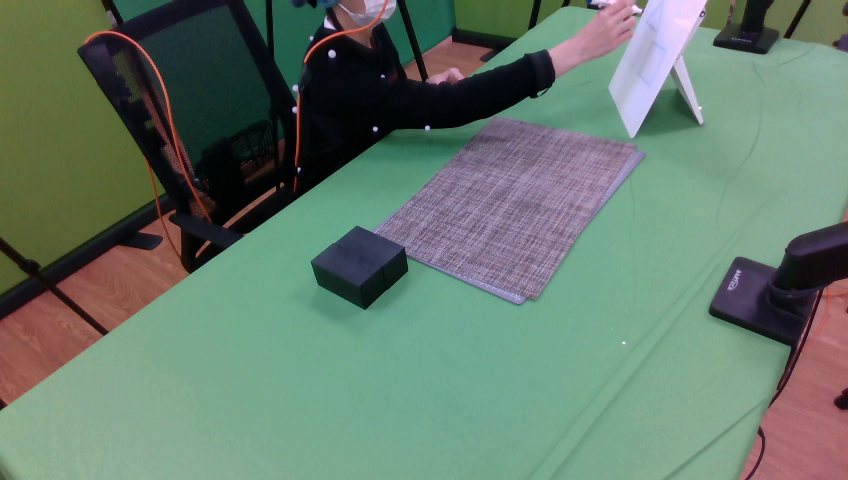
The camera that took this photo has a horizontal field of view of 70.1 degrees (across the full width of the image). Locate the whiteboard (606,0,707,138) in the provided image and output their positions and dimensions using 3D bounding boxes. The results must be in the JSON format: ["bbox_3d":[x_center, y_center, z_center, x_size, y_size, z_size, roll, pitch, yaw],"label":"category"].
[{"bbox_3d":[0.496,-0.358,1.147,0.144,0.305,0.216,11,40,-7],"label":"whiteboard"}]

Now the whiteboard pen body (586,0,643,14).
[{"bbox_3d":[0.352,-0.430,1.108,0.142,0.017,0.017,-1,35,-29],"label":"whiteboard pen body"}]

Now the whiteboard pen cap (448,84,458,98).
[{"bbox_3d":[0.060,-0.311,1.261,0.018,0.018,0.033,5,47,14],"label":"whiteboard pen cap"}]
